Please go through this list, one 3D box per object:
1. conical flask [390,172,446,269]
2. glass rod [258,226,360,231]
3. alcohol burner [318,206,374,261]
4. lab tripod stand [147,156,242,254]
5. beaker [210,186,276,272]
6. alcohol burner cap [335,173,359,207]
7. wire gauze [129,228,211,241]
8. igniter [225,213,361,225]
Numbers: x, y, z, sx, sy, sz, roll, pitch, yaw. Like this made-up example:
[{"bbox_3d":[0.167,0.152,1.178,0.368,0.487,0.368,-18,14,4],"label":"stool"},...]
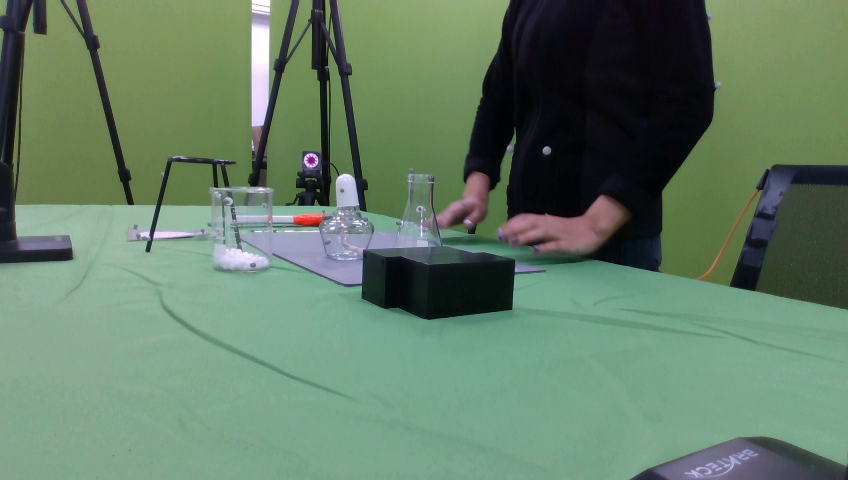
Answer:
[{"bbox_3d":[-0.006,-0.027,0.790,0.075,0.122,0.075,2,7,0],"label":"conical flask"},{"bbox_3d":[-0.215,-0.022,1.151,0.201,0.008,0.008,-2,8,-28],"label":"glass rod"},{"bbox_3d":[-0.107,-0.032,0.833,0.078,0.119,0.078,1,6,0],"label":"alcohol burner"},{"bbox_3d":[-0.310,-0.051,0.858,0.148,0.131,0.148,4,6,0],"label":"lab tripod stand"},{"bbox_3d":[-0.224,-0.014,0.738,0.084,0.100,0.074,4,7,16],"label":"beaker"},{"bbox_3d":[-0.108,-0.068,0.829,0.034,0.048,0.034,-7,4,1],"label":"alcohol burner cap"},{"bbox_3d":[-0.419,-0.010,0.999,0.122,0.011,0.124,0,6,-25],"label":"wire gauze"},{"bbox_3d":[-0.257,-0.042,1.221,0.278,0.025,0.057,-2,-2,-32],"label":"igniter"}]
